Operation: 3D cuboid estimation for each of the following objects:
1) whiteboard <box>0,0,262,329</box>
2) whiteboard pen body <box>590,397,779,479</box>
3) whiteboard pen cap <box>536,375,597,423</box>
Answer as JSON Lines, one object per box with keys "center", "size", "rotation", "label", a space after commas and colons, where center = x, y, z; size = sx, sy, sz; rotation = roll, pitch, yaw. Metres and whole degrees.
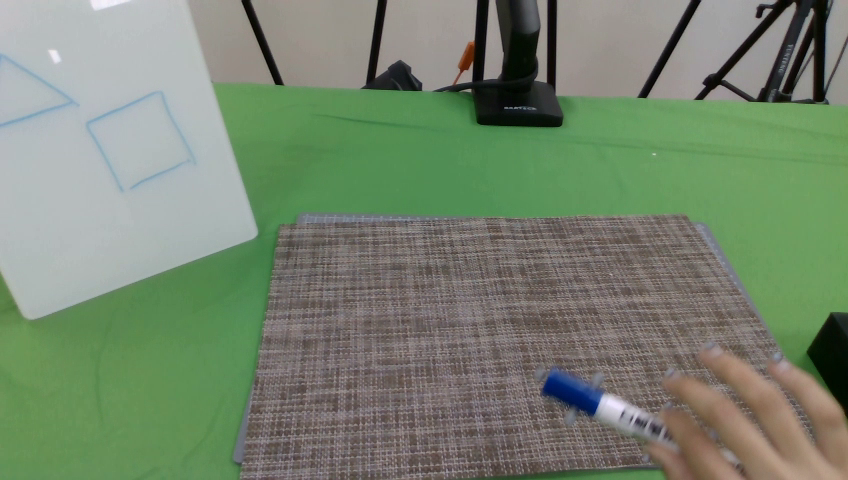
{"center": [-0.316, -0.115, 0.567], "size": [0.217, 0.307, 0.142], "rotation": [-23, 26, -28], "label": "whiteboard"}
{"center": [0.137, 0.112, 0.328], "size": [0.140, 0.017, 0.017], "rotation": [24, 43, 14], "label": "whiteboard pen body"}
{"center": [0.082, 0.090, 0.341], "size": [0.033, 0.018, 0.018], "rotation": [22, 42, 15], "label": "whiteboard pen cap"}
